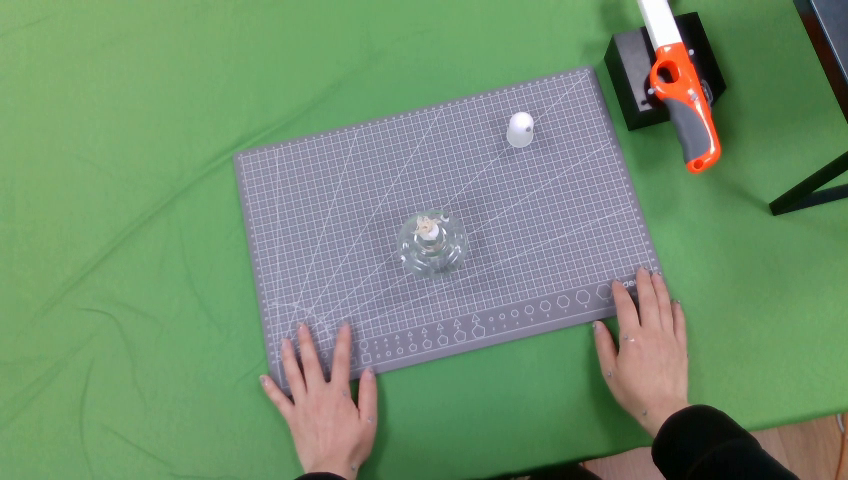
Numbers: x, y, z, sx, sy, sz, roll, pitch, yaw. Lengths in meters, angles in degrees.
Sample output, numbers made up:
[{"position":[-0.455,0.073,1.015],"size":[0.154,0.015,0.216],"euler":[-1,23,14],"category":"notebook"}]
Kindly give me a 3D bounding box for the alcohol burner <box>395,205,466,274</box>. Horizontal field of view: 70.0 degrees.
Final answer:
[{"position":[0.005,-0.004,0.640],"size":[0.078,0.119,0.077],"euler":[-1,78,5],"category":"alcohol burner"}]

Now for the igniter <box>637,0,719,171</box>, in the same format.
[{"position":[0.271,-0.205,0.669],"size":[0.057,0.025,0.274],"euler":[-11,74,2],"category":"igniter"}]

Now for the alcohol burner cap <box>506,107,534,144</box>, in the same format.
[{"position":[0.112,-0.135,0.700],"size":[0.034,0.048,0.033],"euler":[-1,77,5],"category":"alcohol burner cap"}]
